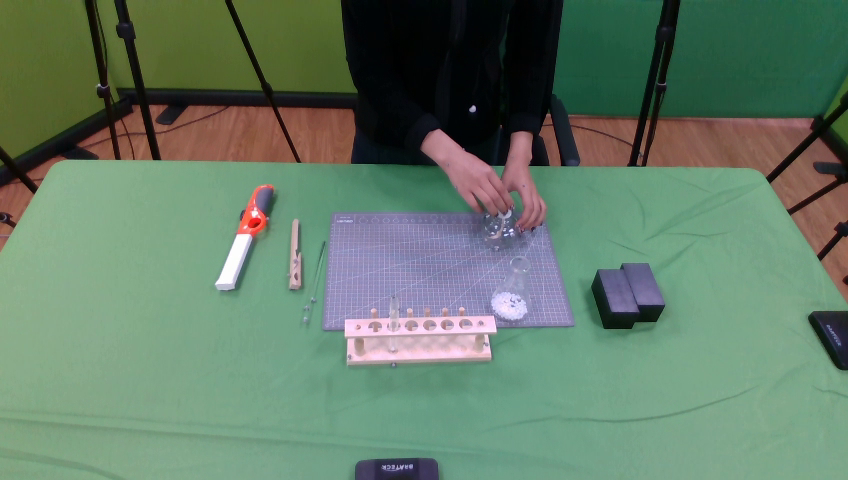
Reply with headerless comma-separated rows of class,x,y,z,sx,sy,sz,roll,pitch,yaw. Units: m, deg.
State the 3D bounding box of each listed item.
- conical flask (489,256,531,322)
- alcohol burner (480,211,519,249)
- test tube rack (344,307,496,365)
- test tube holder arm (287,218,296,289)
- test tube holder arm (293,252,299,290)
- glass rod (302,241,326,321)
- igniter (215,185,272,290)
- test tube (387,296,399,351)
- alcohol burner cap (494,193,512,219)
conical flask,0.158,0.081,1.061,0.075,0.122,0.075,2,46,-2
alcohol burner,0.150,-0.038,1.182,0.078,0.119,0.077,3,47,-3
test tube rack,-0.009,0.154,1.007,0.242,0.085,0.066,-1,46,-5
test tube holder arm,-0.254,0.022,1.158,0.013,0.015,0.177,24,36,-34
test tube holder arm,-0.241,0.056,1.131,0.010,0.015,0.087,25,35,-33
glass rod,-0.203,0.072,1.124,0.008,0.008,0.198,4,43,1
igniter,-0.347,-0.014,1.182,0.057,0.025,0.275,-1,45,8
test tube,-0.049,0.135,0.953,0.017,0.151,0.017,2,51,-3
alcohol burner cap,0.152,-0.067,1.149,0.034,0.048,0.033,2,49,-2
